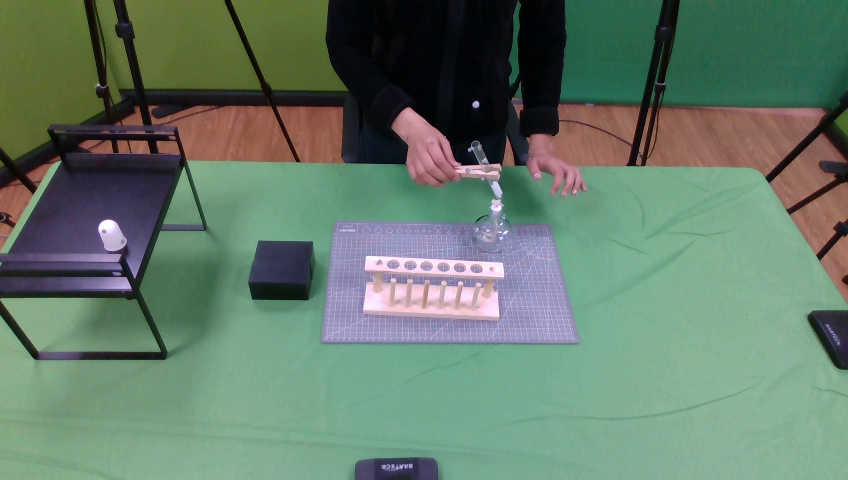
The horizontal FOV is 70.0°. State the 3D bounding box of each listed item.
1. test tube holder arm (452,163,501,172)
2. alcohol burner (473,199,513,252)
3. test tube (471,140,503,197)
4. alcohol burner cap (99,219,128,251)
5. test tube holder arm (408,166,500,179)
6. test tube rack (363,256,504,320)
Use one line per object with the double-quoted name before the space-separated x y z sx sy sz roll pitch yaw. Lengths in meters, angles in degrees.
"test tube holder arm" 0.091 -0.124 1.058 0.087 0.015 0.010 -2 55 24
"alcohol burner" 0.135 -0.034 1.174 0.078 0.120 0.077 1 47 -1
"test tube" 0.111 -0.120 1.046 0.017 0.151 0.017 -12 55 18
"alcohol burner cap" -0.467 -0.010 0.907 0.034 0.048 0.033 2 47 -1
"test tube holder arm" 0.050 -0.121 1.076 0.178 0.015 0.013 5 57 28
"test tube rack" 0.015 0.085 1.069 0.242 0.085 0.066 3 45 -2
